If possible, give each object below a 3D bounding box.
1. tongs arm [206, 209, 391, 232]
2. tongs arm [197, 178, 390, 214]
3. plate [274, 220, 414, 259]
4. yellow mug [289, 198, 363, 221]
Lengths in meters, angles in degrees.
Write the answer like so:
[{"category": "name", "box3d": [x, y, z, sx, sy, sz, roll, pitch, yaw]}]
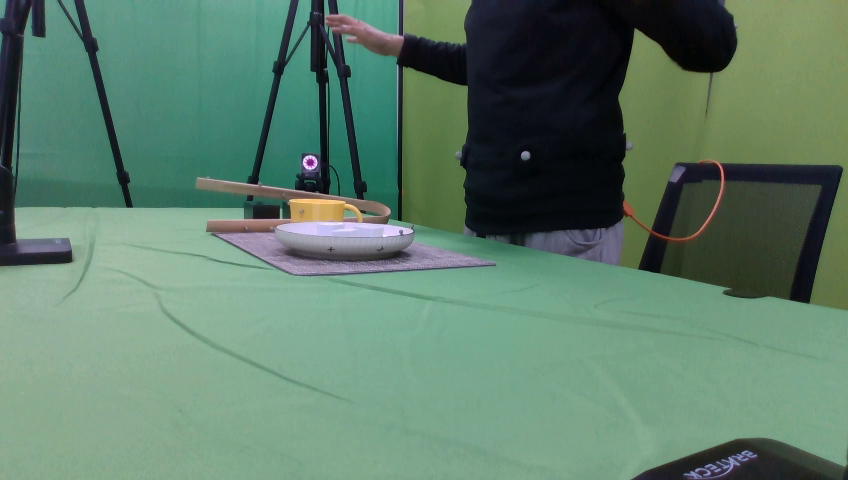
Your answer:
[{"category": "tongs arm", "box3d": [-0.224, -0.037, 1.170, 0.390, 0.028, 0.028, -4, 31, -36]}, {"category": "tongs arm", "box3d": [-0.256, -0.083, 1.230, 0.387, 0.026, 0.050, 5, 30, -26]}, {"category": "plate", "box3d": [-0.118, -0.001, 0.902, 0.208, 0.039, 0.207, 3, 7, 0]}, {"category": "yellow mug", "box3d": [-0.174, -0.039, 1.071, 0.131, 0.064, 0.100, 3, 6, 0]}]
